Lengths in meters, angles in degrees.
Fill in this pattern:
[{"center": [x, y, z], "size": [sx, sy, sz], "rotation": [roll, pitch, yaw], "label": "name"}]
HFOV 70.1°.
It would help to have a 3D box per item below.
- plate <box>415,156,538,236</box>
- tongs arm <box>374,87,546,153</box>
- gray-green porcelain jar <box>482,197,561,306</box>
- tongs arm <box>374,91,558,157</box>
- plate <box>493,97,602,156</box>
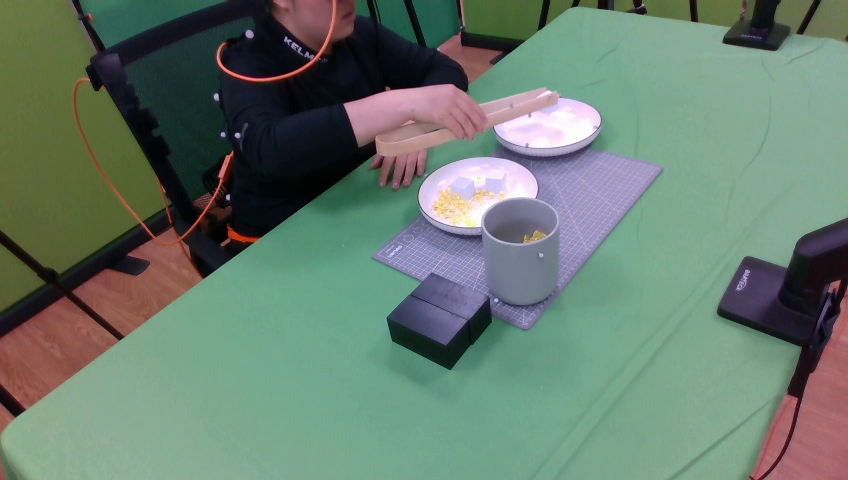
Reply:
[{"center": [0.090, -0.072, 1.034], "size": [0.207, 0.039, 0.206], "rotation": [-5, 40, 5], "label": "plate"}, {"center": [0.075, -0.225, 1.104], "size": [0.389, 0.028, 0.028], "rotation": [-21, 41, -25], "label": "tongs arm"}, {"center": [0.138, 0.020, 0.846], "size": [0.106, 0.127, 0.105], "rotation": [-5, 40, 5], "label": "gray-green porcelain jar"}, {"center": [0.088, -0.215, 1.087], "size": [0.387, 0.026, 0.050], "rotation": [-24, 39, -28], "label": "tongs arm"}, {"center": [0.238, -0.218, 1.179], "size": [0.209, 0.038, 0.208], "rotation": [-4, 39, 4], "label": "plate"}]
